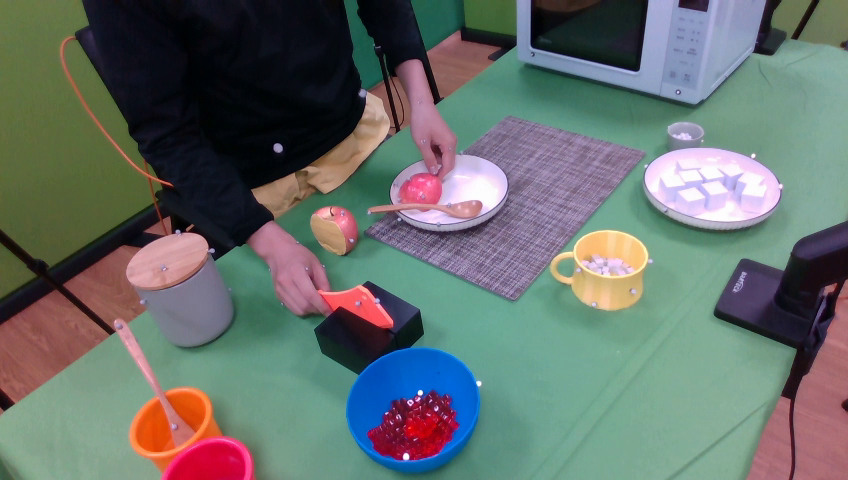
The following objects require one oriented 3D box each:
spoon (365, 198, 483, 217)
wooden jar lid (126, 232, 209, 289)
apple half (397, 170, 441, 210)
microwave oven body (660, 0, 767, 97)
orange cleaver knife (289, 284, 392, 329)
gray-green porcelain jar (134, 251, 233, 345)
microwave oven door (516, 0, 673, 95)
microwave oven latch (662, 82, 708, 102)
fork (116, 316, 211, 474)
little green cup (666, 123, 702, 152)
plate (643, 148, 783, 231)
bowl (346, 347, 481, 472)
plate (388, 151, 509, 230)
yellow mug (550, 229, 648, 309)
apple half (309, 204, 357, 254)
[{"bbox_3d":[0.001,-0.056,0.997,0.194,0.021,0.041,1,53,-9],"label":"spoon"},{"bbox_3d":[-0.340,0.030,0.808,0.108,0.021,0.108,-5,39,5],"label":"wooden jar lid"},{"bbox_3d":[-0.010,-0.094,1.037,0.081,0.033,0.081,-5,64,10],"label":"apple half"},{"bbox_3d":[0.473,-0.517,1.313,0.438,0.261,0.327,26,52,34],"label":"microwave oven body"},{"bbox_3d":[-0.119,0.091,0.833,0.209,0.077,0.012,-3,32,49],"label":"orange cleaver knife"},{"bbox_3d":[-0.334,0.076,0.849,0.106,0.127,0.105,-4,41,4],"label":"gray-green porcelain jar"},{"bbox_3d":[0.344,-0.458,1.256,0.353,0.245,0.039,26,51,33],"label":"microwave oven door"},{"bbox_3d":[0.517,-0.298,1.203,0.078,0.029,0.030,28,52,35],"label":"microwave oven latch"},{"bbox_3d":[-0.308,0.179,0.708,0.028,0.018,0.207,-30,89,-15],"label":"fork"},{"bbox_3d":[0.472,-0.183,1.102,0.061,0.039,0.061,-5,41,5],"label":"little green cup"},{"bbox_3d":[0.464,-0.079,0.986,0.207,0.039,0.206,-4,40,4],"label":"plate"},{"bbox_3d":[-0.008,0.205,0.691,0.151,0.077,0.150,-4,40,4],"label":"bowl"},{"bbox_3d":[0.044,-0.082,1.042,0.209,0.038,0.208,-4,40,4],"label":"plate"},{"bbox_3d":[0.245,0.040,0.857,0.130,0.064,0.099,1,42,11],"label":"yellow mug"},{"bbox_3d":[-0.140,-0.022,0.979,0.080,0.075,0.053,19,44,32],"label":"apple half"}]
